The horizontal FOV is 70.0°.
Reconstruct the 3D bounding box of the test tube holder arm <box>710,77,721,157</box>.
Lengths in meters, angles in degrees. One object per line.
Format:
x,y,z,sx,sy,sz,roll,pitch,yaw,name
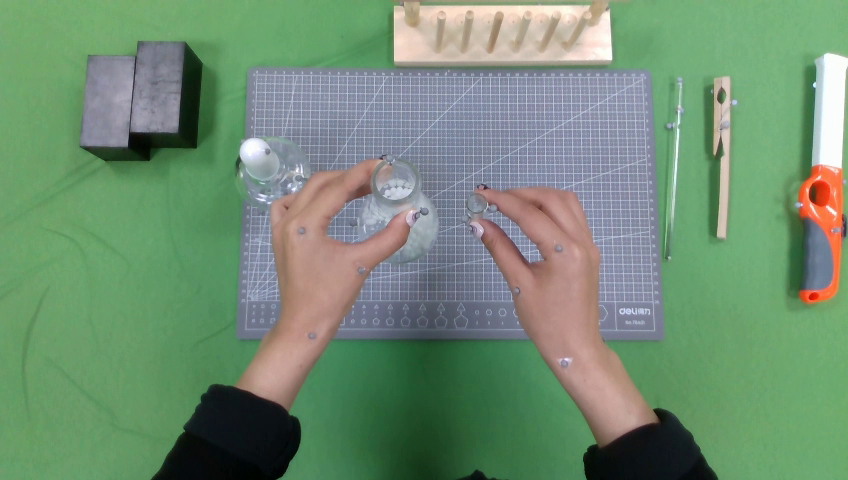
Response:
0.323,-0.136,0.671,0.010,0.015,0.087,-3,81,36,test tube holder arm

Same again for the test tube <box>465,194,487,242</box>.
0.044,-0.016,0.505,0.017,0.151,0.017,-1,82,6,test tube

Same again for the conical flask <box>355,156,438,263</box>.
-0.024,-0.029,0.500,0.075,0.122,0.075,0,76,-1,conical flask

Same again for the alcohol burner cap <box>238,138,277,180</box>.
-0.158,-0.079,0.569,0.034,0.048,0.033,1,77,-4,alcohol burner cap

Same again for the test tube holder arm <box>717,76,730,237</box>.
0.326,-0.092,0.661,0.013,0.015,0.178,-5,80,36,test tube holder arm

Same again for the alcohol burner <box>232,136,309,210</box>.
-0.158,-0.072,0.605,0.078,0.119,0.077,0,81,2,alcohol burner

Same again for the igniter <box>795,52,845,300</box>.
0.431,-0.070,0.656,0.057,0.025,0.275,10,82,-9,igniter

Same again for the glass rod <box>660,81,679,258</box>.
0.270,-0.078,0.665,0.008,0.008,0.199,7,84,0,glass rod

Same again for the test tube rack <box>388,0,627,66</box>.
0.085,-0.236,0.648,0.242,0.085,0.066,-1,82,-1,test tube rack
